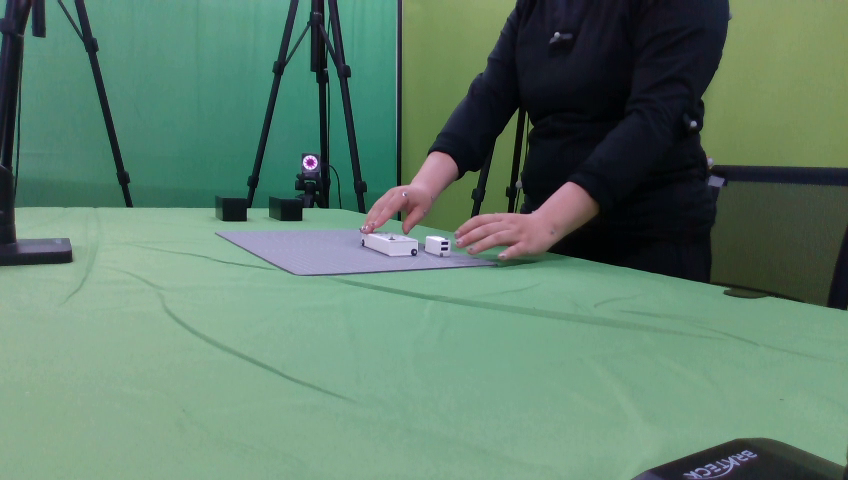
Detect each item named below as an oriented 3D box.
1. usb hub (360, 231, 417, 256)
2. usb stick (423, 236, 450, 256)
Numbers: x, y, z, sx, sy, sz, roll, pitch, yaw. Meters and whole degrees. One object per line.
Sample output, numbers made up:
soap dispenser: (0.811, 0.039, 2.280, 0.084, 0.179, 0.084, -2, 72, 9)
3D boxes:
usb hub: (-0.058, 0.004, 0.951, 0.050, 0.025, 0.124, -2, 8, -26)
usb stick: (0.017, 0.009, 0.937, 0.021, 0.027, 0.059, 2, 4, -28)
